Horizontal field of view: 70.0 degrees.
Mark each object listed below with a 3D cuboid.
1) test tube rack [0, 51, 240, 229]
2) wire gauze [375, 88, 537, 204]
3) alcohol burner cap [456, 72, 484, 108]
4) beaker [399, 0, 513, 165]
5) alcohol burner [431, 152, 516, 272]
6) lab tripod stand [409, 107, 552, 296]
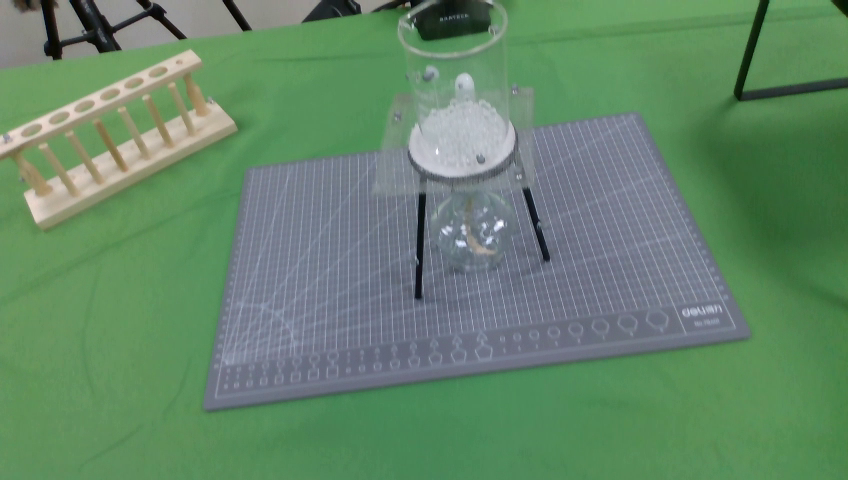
[{"bbox_3d":[-0.347,-0.119,0.696,0.242,0.086,0.066,-33,52,-19],"label":"test tube rack"},{"bbox_3d":[0.028,-0.080,0.480,0.121,0.011,0.124,-1,53,10],"label":"wire gauze"},{"bbox_3d":[0.053,-0.174,0.712,0.034,0.048,0.033,-5,50,6],"label":"alcohol burner cap"},{"bbox_3d":[0.025,-0.112,0.443,0.083,0.101,0.074,24,59,27],"label":"beaker"},{"bbox_3d":[0.042,-0.028,0.534,0.078,0.120,0.077,-5,46,6],"label":"alcohol burner"},{"bbox_3d":[0.039,-0.033,0.526,0.148,0.133,0.147,-4,51,5],"label":"lab tripod stand"}]
